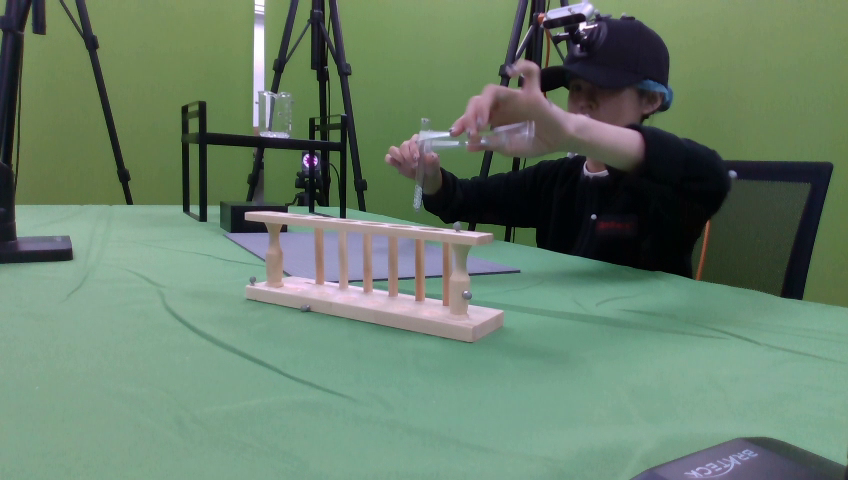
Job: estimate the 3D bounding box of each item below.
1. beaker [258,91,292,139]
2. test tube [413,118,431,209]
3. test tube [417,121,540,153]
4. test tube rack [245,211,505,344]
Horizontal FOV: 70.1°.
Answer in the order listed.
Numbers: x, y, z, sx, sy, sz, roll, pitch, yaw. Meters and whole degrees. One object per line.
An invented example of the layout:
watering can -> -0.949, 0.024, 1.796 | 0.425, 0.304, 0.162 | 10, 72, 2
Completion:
beaker -> -0.331, -0.276, 1.343 | 0.074, 0.100, 0.083 | 0, 8, -20
test tube -> -0.004, -0.124, 0.988 | 0.017, 0.150, 0.017 | 6, 15, -1
test tube -> 0.051, -0.104, 0.612 | 0.150, 0.017, 0.017 | 0, 4, 42
test tube rack -> -0.049, 0.024, 0.547 | 0.241, 0.085, 0.067 | 7, 8, 29
